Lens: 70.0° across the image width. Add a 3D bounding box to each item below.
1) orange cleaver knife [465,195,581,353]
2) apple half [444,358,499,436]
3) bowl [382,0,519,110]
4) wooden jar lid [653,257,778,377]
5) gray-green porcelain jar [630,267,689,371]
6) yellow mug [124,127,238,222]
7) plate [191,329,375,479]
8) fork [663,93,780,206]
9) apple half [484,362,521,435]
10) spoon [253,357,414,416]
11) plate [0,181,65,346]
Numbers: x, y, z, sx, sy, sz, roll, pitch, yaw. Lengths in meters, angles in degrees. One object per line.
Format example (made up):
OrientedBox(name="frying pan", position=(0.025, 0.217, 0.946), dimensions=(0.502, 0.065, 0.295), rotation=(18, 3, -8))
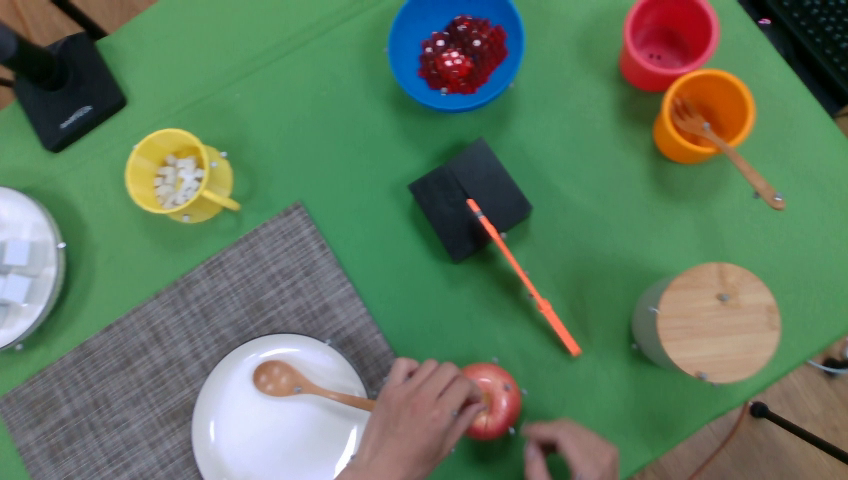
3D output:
OrientedBox(name="orange cleaver knife", position=(0.107, 0.038, 0.651), dimensions=(0.012, 0.076, 0.213), rotation=(-36, 113, 5))
OrientedBox(name="apple half", position=(0.049, 0.164, 0.652), dimensions=(0.053, 0.075, 0.080), rotation=(11, 87, 13))
OrientedBox(name="bowl", position=(0.033, -0.213, 0.695), dimensions=(0.151, 0.077, 0.151), rotation=(-1, 84, 6))
OrientedBox(name="wooden jar lid", position=(0.262, 0.070, 0.550), dimensions=(0.108, 0.021, 0.108), rotation=(0, 85, 5))
OrientedBox(name="gray-green porcelain jar", position=(0.270, 0.078, 0.611), dimensions=(0.106, 0.127, 0.105), rotation=(-1, 83, 6))
OrientedBox(name="yellow mug", position=(-0.279, -0.069, 0.719), dimensions=(0.130, 0.064, 0.100), rotation=(28, 86, 8))
OrientedBox(name="plate", position=(-0.156, 0.204, 0.684), dimensions=(0.209, 0.038, 0.208), rotation=(-1, 84, 6))
OrientedBox(name="fork", position=(0.298, -0.097, 0.616), dimensions=(0.028, 0.019, 0.205), rotation=(-15, 38, 1))
OrientedBox(name="apple half", position=(0.087, 0.171, 0.646), dimensions=(0.032, 0.081, 0.081), rotation=(12, 84, 13))
OrientedBox(name="spoon", position=(-0.103, 0.167, 0.669), dimensions=(0.193, 0.022, 0.041), rotation=(10, 74, 20))
OrientedBox(name="plate", position=(-0.537, 0.031, 0.750), dimensions=(0.207, 0.039, 0.207), rotation=(-1, 83, 6))
